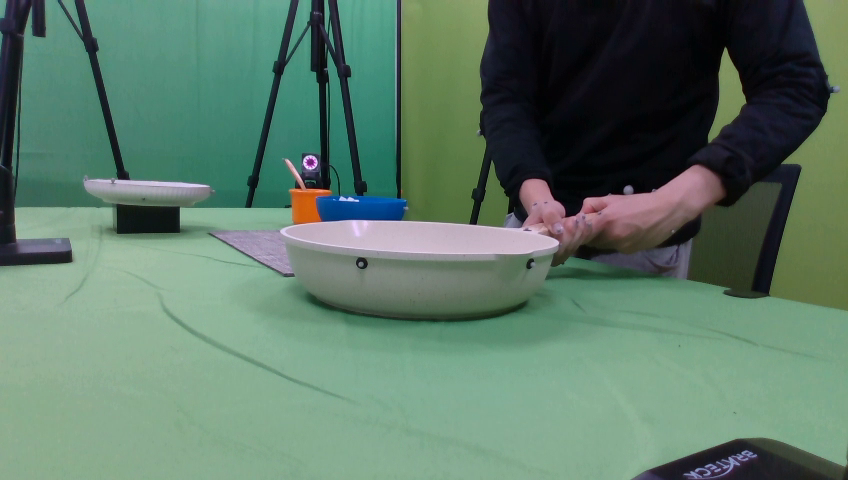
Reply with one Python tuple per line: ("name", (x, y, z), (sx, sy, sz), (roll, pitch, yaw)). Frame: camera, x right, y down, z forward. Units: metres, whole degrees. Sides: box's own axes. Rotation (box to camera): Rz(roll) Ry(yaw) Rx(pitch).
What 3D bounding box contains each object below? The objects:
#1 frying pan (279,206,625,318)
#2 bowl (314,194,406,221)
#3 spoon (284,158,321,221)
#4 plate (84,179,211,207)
("frying pan", (0.079, 0.002, 0.706), (0.490, 0.102, 0.305), (-12, 15, -33))
("bowl", (-0.105, -0.033, 0.992), (0.151, 0.077, 0.151), (2, 8, 0))
("spoon", (-0.269, -0.113, 1.335), (0.042, 0.193, 0.021), (-4, -34, -42))
("plate", (-0.495, -0.085, 1.093), (0.208, 0.039, 0.207), (4, 7, 0))
